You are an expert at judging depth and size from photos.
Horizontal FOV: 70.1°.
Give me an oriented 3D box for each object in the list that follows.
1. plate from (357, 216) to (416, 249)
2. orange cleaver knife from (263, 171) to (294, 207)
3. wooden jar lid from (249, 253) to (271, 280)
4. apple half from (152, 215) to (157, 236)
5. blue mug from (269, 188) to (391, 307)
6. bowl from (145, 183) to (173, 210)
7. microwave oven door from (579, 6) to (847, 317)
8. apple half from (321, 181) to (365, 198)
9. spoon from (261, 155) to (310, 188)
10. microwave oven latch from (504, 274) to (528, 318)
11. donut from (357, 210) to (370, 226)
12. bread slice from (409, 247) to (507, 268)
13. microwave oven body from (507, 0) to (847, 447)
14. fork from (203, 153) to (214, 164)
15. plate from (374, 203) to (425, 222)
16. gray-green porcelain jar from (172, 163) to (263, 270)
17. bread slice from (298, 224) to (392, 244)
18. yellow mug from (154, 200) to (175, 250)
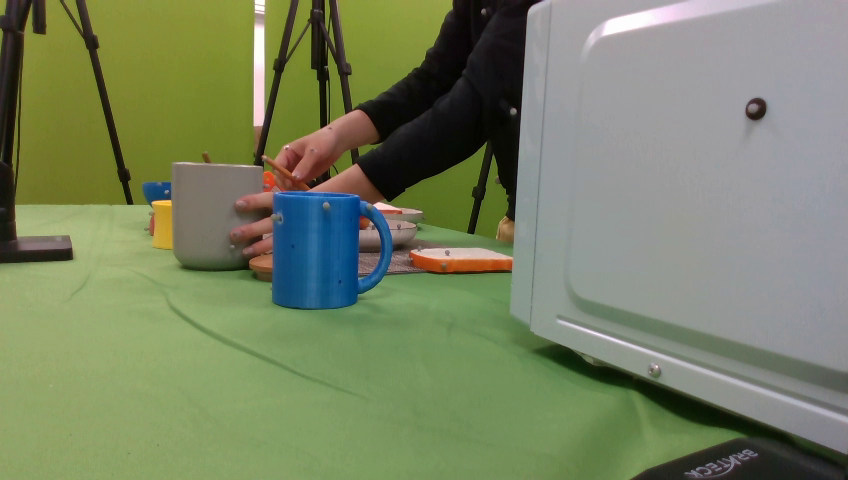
[{"bbox_3d":[-0.116,-0.014,0.967,0.208,0.039,0.207,2,7,0],"label":"plate"},{"bbox_3d":[-0.283,-0.087,1.343,0.212,0.077,0.012,24,-16,-41],"label":"orange cleaver knife"},{"bbox_3d":[-0.148,0.028,0.708,0.108,0.020,0.108,-1,9,0],"label":"wooden jar lid"},{"bbox_3d":[-0.415,-0.034,1.017,0.081,0.053,0.074,1,10,-9],"label":"apple half"},{"bbox_3d":[-0.090,0.004,0.588,0.117,0.106,0.082,0,8,-11],"label":"blue mug"},{"bbox_3d":[-0.459,-0.069,1.175,0.151,0.077,0.151,3,7,0],"label":"bowl"},{"bbox_3d":[0.294,-0.067,0.570,0.358,0.243,0.039,-3,9,-31],"label":"microwave oven door"},{"bbox_3d":[-0.130,-0.077,0.952,0.081,0.033,0.081,4,14,-1],"label":"apple half"},{"bbox_3d":[-0.190,-0.080,0.990,0.194,0.021,0.041,46,11,-36],"label":"spoon"},{"bbox_3d":[0.100,0.041,0.470,0.079,0.029,0.030,-1,7,-27],"label":"microwave oven latch"},{"bbox_3d":[-0.132,-0.042,0.959,0.099,0.048,0.099,2,7,0],"label":"donut"},{"bbox_3d":[0.048,0.022,0.816,0.132,0.019,0.104,1,5,-24],"label":"bread slice"},{"bbox_3d":[0.331,-0.042,0.425,0.444,0.260,0.324,-2,8,-31],"label":"microwave oven body"},{"bbox_3d":[-0.480,-0.134,1.411,0.028,0.018,0.207,1,-35,0],"label":"fork"},{"bbox_3d":[-0.102,-0.053,1.299,0.209,0.038,0.209,2,8,0],"label":"plate"},{"bbox_3d":[-0.254,-0.031,0.751,0.106,0.126,0.106,2,7,0],"label":"gray-green porcelain jar"},{"bbox_3d":[-0.119,-0.011,0.969,0.106,0.018,0.135,9,10,40],"label":"bread slice"},{"bbox_3d":[-0.337,-0.023,0.899,0.130,0.064,0.100,8,9,34],"label":"yellow mug"}]
